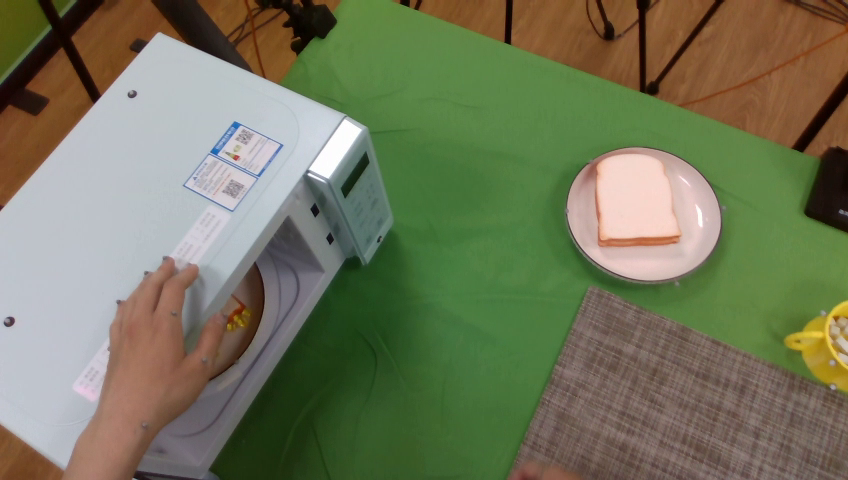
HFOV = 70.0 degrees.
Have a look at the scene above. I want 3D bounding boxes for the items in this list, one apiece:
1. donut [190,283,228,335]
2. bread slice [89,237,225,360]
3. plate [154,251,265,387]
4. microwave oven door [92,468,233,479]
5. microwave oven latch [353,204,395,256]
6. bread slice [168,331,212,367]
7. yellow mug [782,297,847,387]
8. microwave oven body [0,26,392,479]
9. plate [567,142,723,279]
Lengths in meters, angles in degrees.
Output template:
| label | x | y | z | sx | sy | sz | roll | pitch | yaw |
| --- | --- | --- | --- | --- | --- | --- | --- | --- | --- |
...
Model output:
| label | x | y | z | sx | sy | sz | roll | pitch | yaw |
| --- | --- | --- | --- | --- | --- | --- | --- | --- | --- |
| donut | -0.291 | 0.071 | 0.745 | 0.099 | 0.048 | 0.098 | 4 | 61 | -8 |
| bread slice | -0.307 | 0.060 | 0.718 | 0.106 | 0.018 | 0.134 | 36 | 66 | 9 |
| plate | -0.301 | 0.082 | 0.767 | 0.209 | 0.038 | 0.207 | -1 | 70 | 2 |
| microwave oven door | -0.113 | 0.298 | 0.602 | 0.355 | 0.245 | 0.039 | 15 | 68 | 11 |
| microwave oven latch | -0.071 | -0.018 | 0.846 | 0.030 | 0.030 | 0.079 | 29 | 73 | 15 |
| bread slice | -0.304 | 0.101 | 0.780 | 0.104 | 0.019 | 0.131 | 41 | 56 | 18 |
| yellow mug | 0.512 | 0.123 | 0.744 | 0.130 | 0.064 | 0.099 | 4 | 67 | 8 |
| microwave oven body | -0.294 | 0.025 | 0.739 | 0.324 | 0.262 | 0.440 | 26 | 72 | 14 |
| plate | 0.303 | -0.040 | 0.846 | 0.207 | 0.039 | 0.206 | -2 | 67 | 4 |
